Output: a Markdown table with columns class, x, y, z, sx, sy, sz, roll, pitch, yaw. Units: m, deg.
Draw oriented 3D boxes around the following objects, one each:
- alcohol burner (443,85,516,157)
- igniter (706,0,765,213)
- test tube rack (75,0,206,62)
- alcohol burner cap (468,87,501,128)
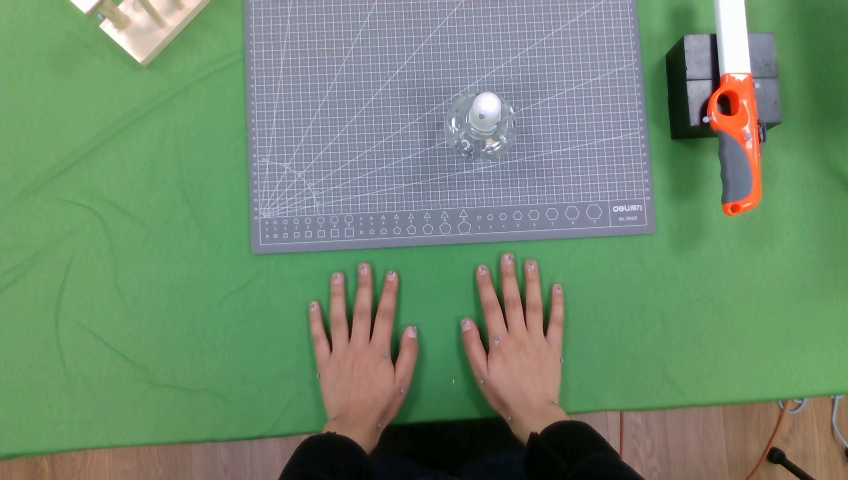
| class | x | y | z | sx | sy | sz | roll | pitch | yaw |
| --- | --- | --- | --- | --- | --- | --- | --- | --- | --- |
| alcohol burner | 0.059 | -0.128 | 0.628 | 0.078 | 0.119 | 0.077 | 0 | 83 | -2 |
| igniter | 0.324 | -0.164 | 0.636 | 0.057 | 0.025 | 0.275 | 0 | 83 | 1 |
| test tube rack | -0.259 | -0.316 | 0.654 | 0.066 | 0.085 | 0.242 | 42 | 85 | 4 |
| alcohol burner cap | 0.061 | -0.131 | 0.593 | 0.034 | 0.048 | 0.034 | 0 | 87 | 3 |
